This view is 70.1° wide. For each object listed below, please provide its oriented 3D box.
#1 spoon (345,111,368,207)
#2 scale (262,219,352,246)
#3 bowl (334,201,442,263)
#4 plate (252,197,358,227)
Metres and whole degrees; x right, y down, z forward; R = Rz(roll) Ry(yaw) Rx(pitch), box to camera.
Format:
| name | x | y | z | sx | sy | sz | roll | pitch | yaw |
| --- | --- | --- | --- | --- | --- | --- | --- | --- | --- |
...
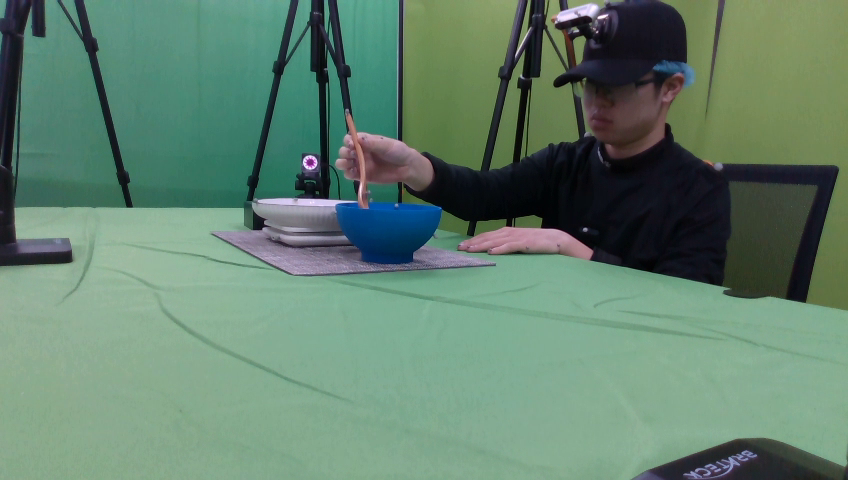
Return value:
| name | x | y | z | sx | sy | sz | roll | pitch | yaw |
| --- | --- | --- | --- | --- | --- | --- | --- | --- | --- |
| spoon | -0.093 | -0.106 | 0.876 | 0.021 | 0.193 | 0.042 | -14 | -23 | 8 |
| scale | -0.160 | -0.015 | 1.027 | 0.202 | 0.031 | 0.148 | -2 | 8 | -32 |
| bowl | -0.051 | -0.012 | 0.848 | 0.151 | 0.077 | 0.151 | 2 | 7 | 0 |
| plate | -0.179 | -0.047 | 1.012 | 0.209 | 0.038 | 0.209 | 2 | 6 | 0 |
